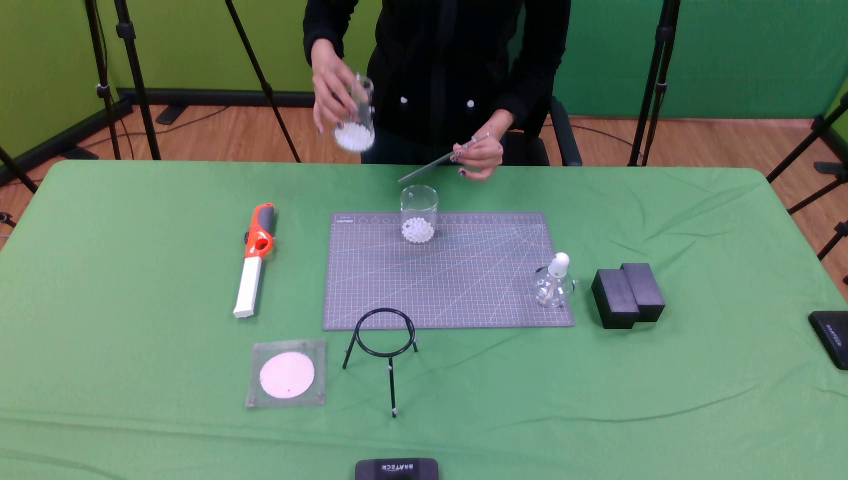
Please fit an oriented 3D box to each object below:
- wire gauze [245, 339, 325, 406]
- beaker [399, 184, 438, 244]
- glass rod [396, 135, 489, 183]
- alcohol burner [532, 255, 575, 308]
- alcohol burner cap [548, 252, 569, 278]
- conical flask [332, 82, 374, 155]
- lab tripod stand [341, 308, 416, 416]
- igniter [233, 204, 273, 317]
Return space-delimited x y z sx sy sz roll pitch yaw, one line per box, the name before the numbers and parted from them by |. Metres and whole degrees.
wire gauze | -0.224 0.214 0.984 0.125 0.011 0.120 -2 46 -5
beaker | -0.015 -0.046 1.186 0.073 0.101 0.084 36 54 27
glass rod | 0.031 -0.149 1.115 0.199 0.008 0.008 -24 42 22
alcohol burner | 0.235 0.066 1.087 0.078 0.119 0.077 4 45 -3
alcohol burner cap | 0.238 0.042 1.060 0.034 0.048 0.033 1 53 -1
conical flask | -0.114 -0.212 1.048 0.075 0.122 0.075 9 50 -11
lab tripod stand | -0.061 0.177 0.946 0.148 0.132 0.147 2 44 -2
igniter | -0.321 0.029 1.142 0.057 0.025 0.274 -7 46 4
